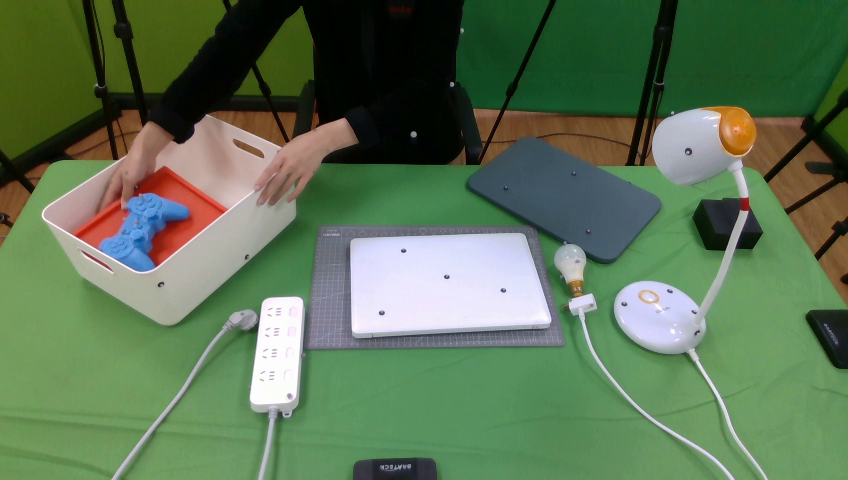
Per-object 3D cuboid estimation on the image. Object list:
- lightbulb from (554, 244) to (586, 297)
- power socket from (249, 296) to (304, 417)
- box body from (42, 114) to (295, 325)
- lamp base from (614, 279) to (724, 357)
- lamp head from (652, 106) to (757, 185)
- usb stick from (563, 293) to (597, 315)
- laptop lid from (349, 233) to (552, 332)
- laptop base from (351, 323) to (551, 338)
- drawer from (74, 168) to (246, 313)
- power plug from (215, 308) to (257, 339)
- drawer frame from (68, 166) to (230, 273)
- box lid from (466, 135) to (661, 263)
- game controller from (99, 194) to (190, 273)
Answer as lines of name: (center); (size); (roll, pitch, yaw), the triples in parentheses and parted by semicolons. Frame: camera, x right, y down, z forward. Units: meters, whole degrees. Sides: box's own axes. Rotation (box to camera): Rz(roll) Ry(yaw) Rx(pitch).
lightbulb: (0.281, 0.058, 1.146); (0.059, 0.060, 0.107); (-2, 62, -6)
power socket: (-0.239, 0.182, 0.996); (0.072, 0.033, 0.225); (-2, 47, -5)
box body: (-0.437, -0.046, 1.110); (0.253, 0.161, 0.363); (24, 49, 19)
lamp base: (0.436, 0.090, 1.034); (0.161, 0.181, 0.178); (-23, 55, -23)
lamp head: (0.410, -0.139, 0.869); (0.113, 0.122, 0.112); (0, 89, -19)
usb stick: (0.280, 0.118, 1.093); (0.059, 0.021, 0.027); (-18, 35, 25)
laptop lid: (0.040, 0.070, 1.119); (0.357, 0.013, 0.240); (-1, 44, -5)
laptop base: (0.040, 0.080, 1.125); (0.355, 0.023, 0.234); (-2, 43, -6)
drawer: (-0.463, -0.004, 1.080); (0.194, 0.073, 0.211); (33, 57, 14)
power plug: (-0.317, 0.143, 1.024); (0.072, 0.053, 0.035); (-32, 58, -8)
drawer frame: (-0.464, -0.005, 1.077); (0.201, 0.083, 0.213); (32, 56, 15)
box lid: (0.306, -0.102, 1.327); (0.370, 0.015, 0.263); (32, 52, 25)
game controller: (-0.472, -0.015, 1.020); (0.097, 0.052, 0.154); (11, 52, 5)
